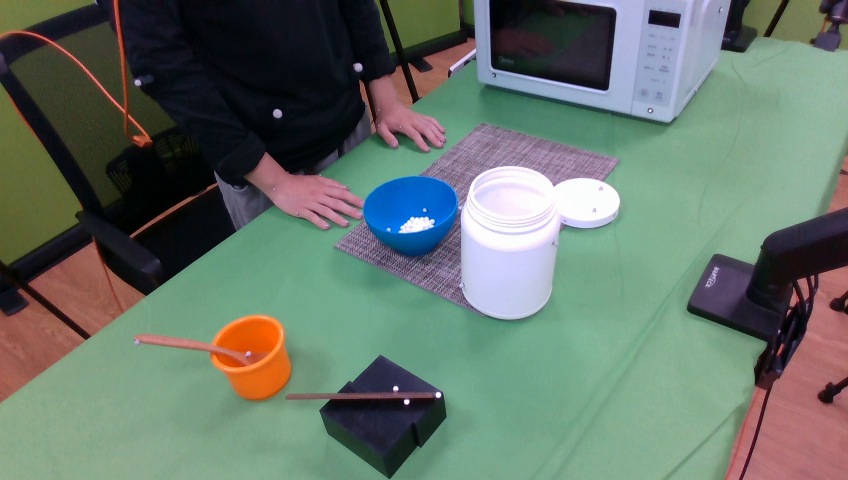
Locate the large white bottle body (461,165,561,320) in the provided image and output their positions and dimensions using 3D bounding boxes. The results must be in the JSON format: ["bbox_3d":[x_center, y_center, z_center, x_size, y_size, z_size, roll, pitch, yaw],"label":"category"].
[{"bbox_3d":[0.115,0.003,0.815,0.130,0.185,0.130,-2,43,2],"label":"large white bottle body"}]

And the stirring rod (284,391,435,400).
[{"bbox_3d":[-0.075,0.180,0.698,0.176,0.006,0.014,-2,6,7],"label":"stirring rod"}]

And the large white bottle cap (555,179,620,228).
[{"bbox_3d":[0.265,-0.062,1.001,0.115,0.018,0.114,-4,41,4],"label":"large white bottle cap"}]

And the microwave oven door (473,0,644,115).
[{"bbox_3d":[0.257,-0.396,1.199,0.353,0.245,0.039,21,48,29],"label":"microwave oven door"}]

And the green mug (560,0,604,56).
[{"bbox_3d":[0.334,-0.451,1.293,0.092,0.105,0.125,9,48,22],"label":"green mug"}]

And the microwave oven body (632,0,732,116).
[{"bbox_3d":[0.377,-0.462,1.267,0.438,0.261,0.327,21,48,30],"label":"microwave oven body"}]

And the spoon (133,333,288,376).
[{"bbox_3d":[-0.257,0.137,0.747,0.021,0.195,0.041,-47,40,22],"label":"spoon"}]

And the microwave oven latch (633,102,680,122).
[{"bbox_3d":[0.444,-0.249,1.157,0.078,0.029,0.030,21,49,30],"label":"microwave oven latch"}]

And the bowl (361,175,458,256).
[{"bbox_3d":[-0.018,-0.028,0.955,0.151,0.077,0.150,-4,40,4],"label":"bowl"}]
